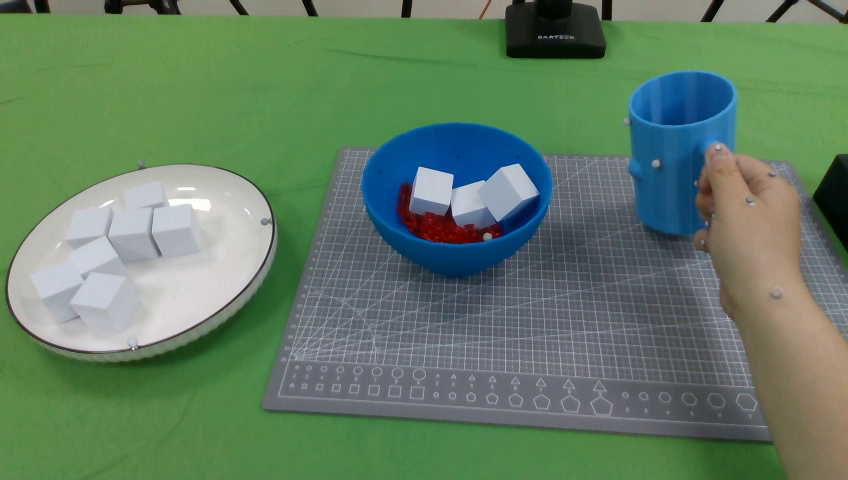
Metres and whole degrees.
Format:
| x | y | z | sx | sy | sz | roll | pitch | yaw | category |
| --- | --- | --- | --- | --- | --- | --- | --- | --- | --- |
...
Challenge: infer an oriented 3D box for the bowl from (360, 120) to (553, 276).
| x | y | z | sx | sy | sz | roll | pitch | yaw | category |
| --- | --- | --- | --- | --- | --- | --- | --- | --- | --- |
| 0.026 | -0.024 | 0.499 | 0.151 | 0.077 | 0.150 | -1 | 46 | 1 | bowl |

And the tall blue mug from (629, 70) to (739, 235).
| x | y | z | sx | sy | sz | roll | pitch | yaw | category |
| --- | --- | --- | --- | --- | --- | --- | --- | --- | --- |
| 0.217 | -0.063 | 0.479 | 0.078 | 0.109 | 0.106 | -36 | 43 | -17 | tall blue mug |

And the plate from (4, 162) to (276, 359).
| x | y | z | sx | sy | sz | roll | pitch | yaw | category |
| --- | --- | --- | --- | --- | --- | --- | --- | --- | --- |
| -0.225 | 0.014 | 0.502 | 0.209 | 0.038 | 0.207 | 0 | 47 | 0 | plate |
